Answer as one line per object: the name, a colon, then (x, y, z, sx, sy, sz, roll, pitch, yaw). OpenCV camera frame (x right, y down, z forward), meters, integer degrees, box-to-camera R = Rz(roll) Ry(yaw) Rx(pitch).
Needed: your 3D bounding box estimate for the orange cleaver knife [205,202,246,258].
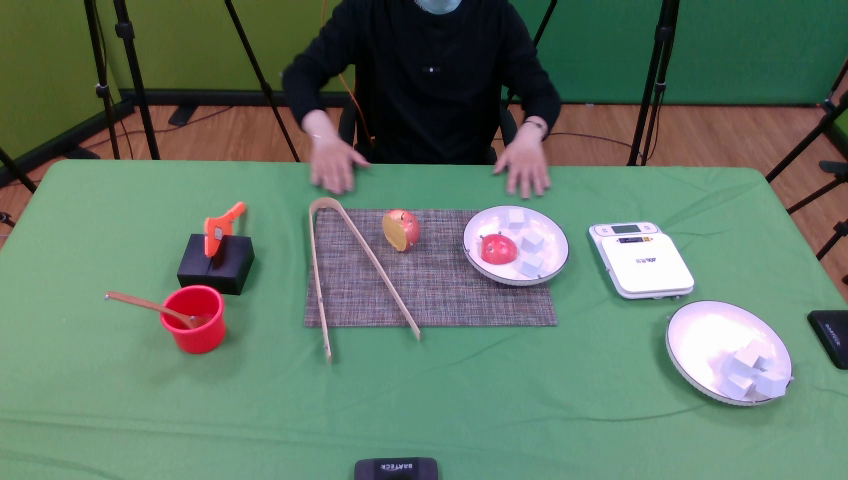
orange cleaver knife: (-0.376, -0.024, 1.151, 0.012, 0.077, 0.210, 0, 16, 2)

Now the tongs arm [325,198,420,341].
tongs arm: (-0.101, 0.043, 1.140, 0.028, 0.028, 0.385, -22, 51, -18)

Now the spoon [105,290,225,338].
spoon: (-0.411, 0.115, 0.971, 0.195, 0.021, 0.041, 32, 36, -37)

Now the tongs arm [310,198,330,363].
tongs arm: (-0.180, 0.058, 1.117, 0.051, 0.026, 0.382, -9, 47, -11)

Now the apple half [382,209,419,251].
apple half: (-0.039, -0.022, 1.175, 0.053, 0.075, 0.080, -27, 49, -31)

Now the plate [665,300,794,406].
plate: (0.513, 0.194, 1.034, 0.208, 0.039, 0.206, 2, 46, -2)

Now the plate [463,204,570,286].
plate: (0.177, 0.013, 1.180, 0.209, 0.038, 0.208, 2, 46, -2)

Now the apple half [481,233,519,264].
apple half: (0.147, 0.010, 1.174, 0.081, 0.033, 0.081, 0, 46, 1)

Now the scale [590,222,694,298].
scale: (0.424, 0.031, 1.189, 0.149, 0.032, 0.199, -3, 46, -7)
